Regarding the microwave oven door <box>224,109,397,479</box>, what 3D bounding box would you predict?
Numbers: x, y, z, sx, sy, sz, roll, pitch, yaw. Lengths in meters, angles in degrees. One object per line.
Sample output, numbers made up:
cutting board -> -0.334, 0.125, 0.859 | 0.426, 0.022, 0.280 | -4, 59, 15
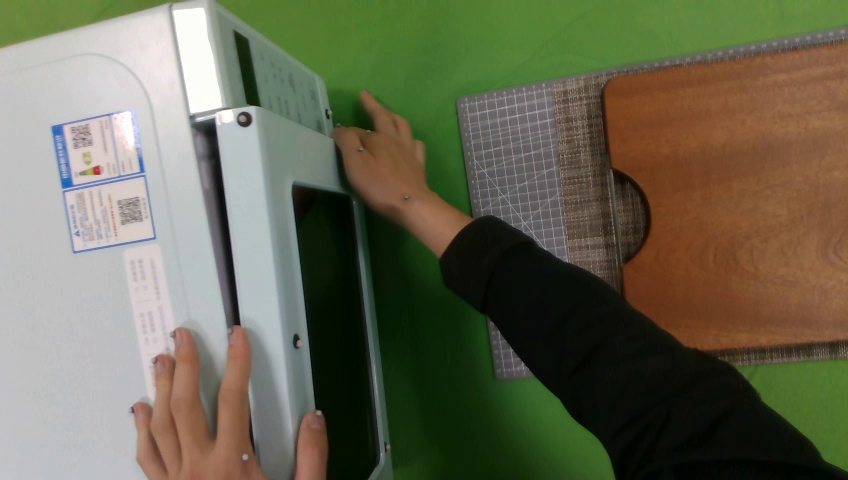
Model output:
microwave oven door -> -0.086, 0.083, 0.529 | 0.039, 0.244, 0.355 | -7, 91, 10

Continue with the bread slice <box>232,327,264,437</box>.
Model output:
bread slice -> -0.201, 0.140, 0.543 | 0.134, 0.018, 0.107 | -28, 91, 23

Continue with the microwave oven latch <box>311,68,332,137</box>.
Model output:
microwave oven latch -> -0.115, -0.135, 0.626 | 0.030, 0.029, 0.079 | -9, 92, 9

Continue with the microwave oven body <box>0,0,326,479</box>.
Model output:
microwave oven body -> -0.245, 0.068, 0.559 | 0.325, 0.260, 0.441 | -10, 91, 9

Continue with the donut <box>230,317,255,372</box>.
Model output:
donut -> -0.190, 0.121, 0.589 | 0.099, 0.048, 0.099 | -2, 110, -4

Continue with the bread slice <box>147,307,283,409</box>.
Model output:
bread slice -> -0.217, 0.128, 0.628 | 0.131, 0.019, 0.105 | -6, 101, -3
